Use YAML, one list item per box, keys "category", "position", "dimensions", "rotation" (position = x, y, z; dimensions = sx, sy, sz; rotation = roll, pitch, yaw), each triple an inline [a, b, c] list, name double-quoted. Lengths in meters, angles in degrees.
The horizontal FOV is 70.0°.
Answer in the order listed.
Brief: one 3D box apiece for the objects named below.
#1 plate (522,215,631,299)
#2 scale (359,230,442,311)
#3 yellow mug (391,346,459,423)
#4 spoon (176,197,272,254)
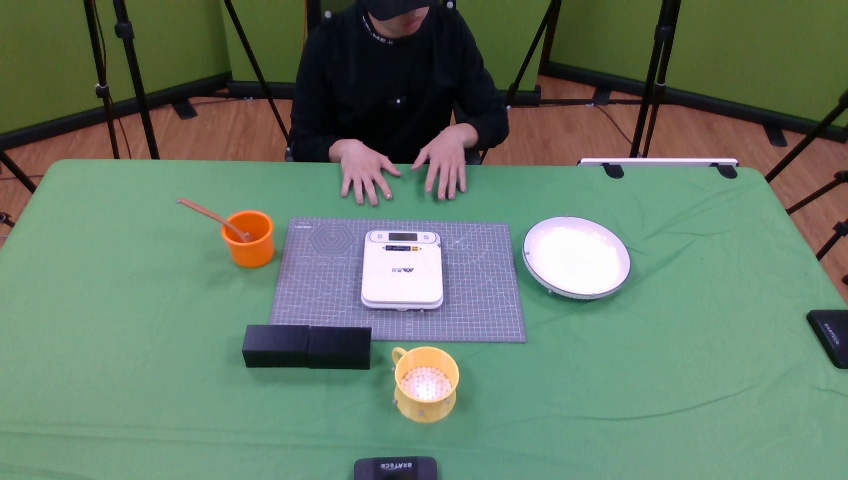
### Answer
- category: "plate"
  position: [0.292, 0.035, 1.175]
  dimensions: [0.209, 0.038, 0.208]
  rotation: [2, 46, -2]
- category: "scale"
  position: [-0.043, 0.048, 1.138]
  dimensions: [0.149, 0.032, 0.199]
  rotation: [2, 46, -3]
- category: "yellow mug"
  position: [-0.009, 0.217, 0.958]
  dimensions: [0.100, 0.064, 0.130]
  rotation: [-33, 56, -31]
- category: "spoon"
  position: [-0.362, -0.028, 1.108]
  dimensions: [0.021, 0.195, 0.041]
  rotation: [-35, 36, 24]
